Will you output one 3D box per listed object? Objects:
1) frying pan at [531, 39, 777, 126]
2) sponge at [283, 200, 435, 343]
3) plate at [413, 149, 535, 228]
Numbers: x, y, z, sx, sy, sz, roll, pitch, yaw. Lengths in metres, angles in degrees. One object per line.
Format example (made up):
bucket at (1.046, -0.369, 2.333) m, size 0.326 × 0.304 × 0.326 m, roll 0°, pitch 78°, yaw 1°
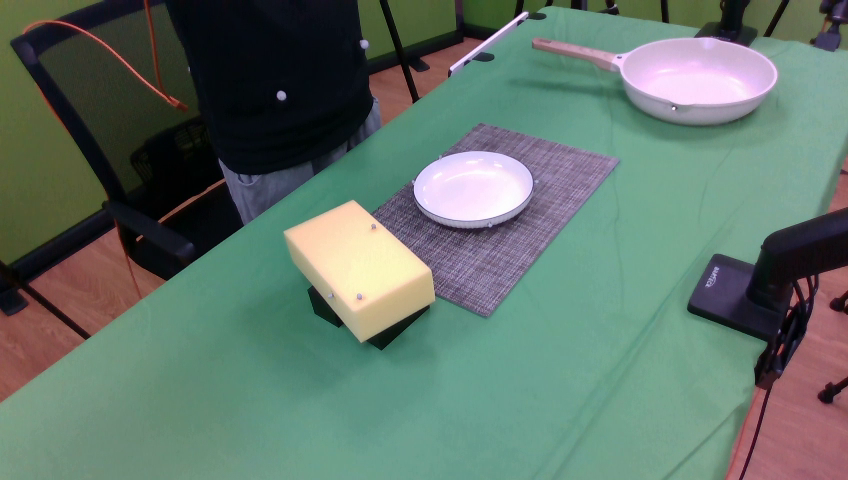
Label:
frying pan at (0.452, -0.354, 1.254) m, size 0.485 × 0.103 × 0.307 m, roll 22°, pitch 47°, yaw 19°
sponge at (-0.094, 0.035, 0.835) m, size 0.119 × 0.061 × 0.205 m, roll -28°, pitch 45°, yaw -23°
plate at (0.086, -0.085, 1.038) m, size 0.207 × 0.039 × 0.206 m, roll -4°, pitch 40°, yaw 4°
